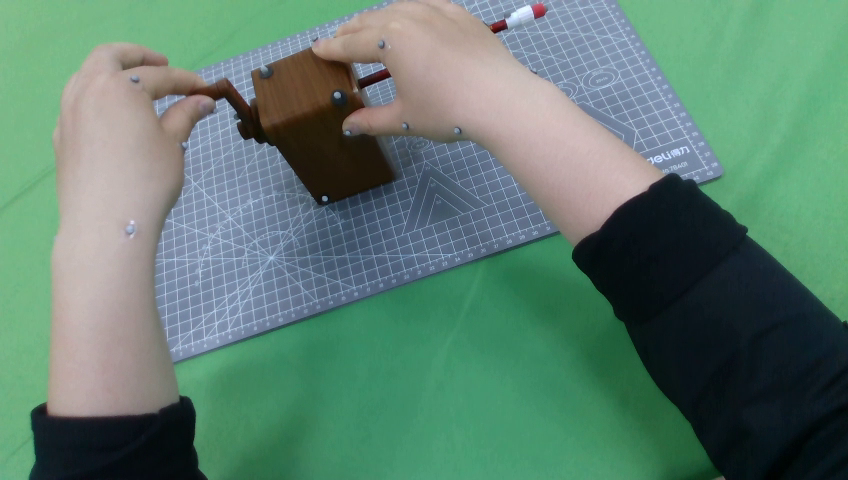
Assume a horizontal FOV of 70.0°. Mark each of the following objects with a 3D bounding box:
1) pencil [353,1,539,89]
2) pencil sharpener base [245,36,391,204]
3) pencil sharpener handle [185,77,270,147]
[{"bbox_3d":[-0.009,-0.127,0.429,0.194,0.012,0.012,-22,60,3],"label":"pencil"},{"bbox_3d":[-0.079,-0.085,0.459,0.077,0.108,0.061,-22,60,2],"label":"pencil sharpener base"},{"bbox_3d":[-0.135,-0.086,0.422,0.030,0.068,0.035,-22,61,2],"label":"pencil sharpener handle"}]
